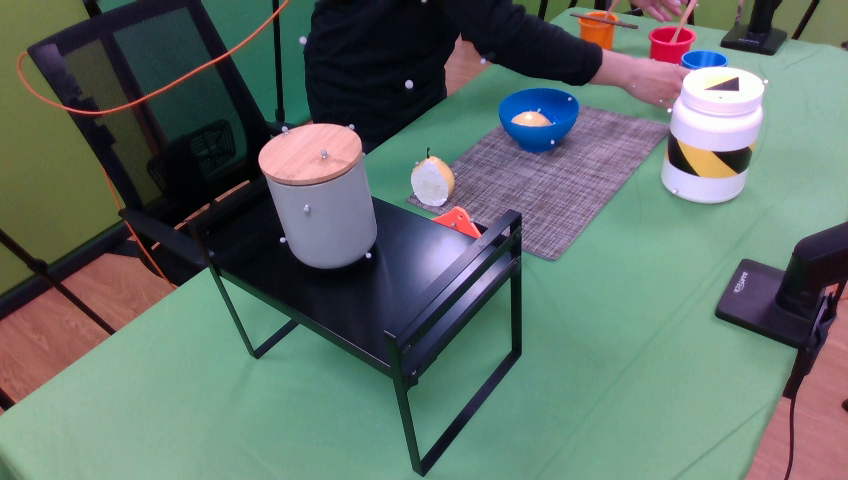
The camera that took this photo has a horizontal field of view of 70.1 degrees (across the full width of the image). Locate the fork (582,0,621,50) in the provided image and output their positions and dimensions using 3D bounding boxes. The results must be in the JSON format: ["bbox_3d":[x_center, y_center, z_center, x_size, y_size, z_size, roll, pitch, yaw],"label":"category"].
[{"bbox_3d":[0.446,-0.539,1.437,0.207,0.019,0.028,-57,35,12],"label":"fork"}]

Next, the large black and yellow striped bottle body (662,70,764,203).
[{"bbox_3d":[0.464,-0.166,0.976,0.131,0.185,0.130,-5,41,5],"label":"large black and yellow striped bottle body"}]

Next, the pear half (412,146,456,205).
[{"bbox_3d":[0.019,-0.120,1.042,0.076,0.110,0.056,11,43,16],"label":"pear half"}]

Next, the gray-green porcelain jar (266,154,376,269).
[{"bbox_3d":[-0.112,-0.039,0.685,0.106,0.127,0.105,-4,40,4],"label":"gray-green porcelain jar"}]

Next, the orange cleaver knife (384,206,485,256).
[{"bbox_3d":[0.012,-0.010,0.942,0.012,0.077,0.210,-37,19,-35],"label":"orange cleaver knife"}]

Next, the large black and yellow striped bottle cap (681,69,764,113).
[{"bbox_3d":[0.453,-0.229,0.921,0.115,0.019,0.114,-4,39,4],"label":"large black and yellow striped bottle cap"}]

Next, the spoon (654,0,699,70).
[{"bbox_3d":[0.567,-0.463,1.337,0.041,0.022,0.193,30,97,38],"label":"spoon"}]

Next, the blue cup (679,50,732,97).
[{"bbox_3d":[0.545,-0.310,1.194,0.092,0.100,0.092,-3,41,3],"label":"blue cup"}]

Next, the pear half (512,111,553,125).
[{"bbox_3d":[0.212,-0.228,1.152,0.088,0.031,0.070,7,45,10],"label":"pear half"}]

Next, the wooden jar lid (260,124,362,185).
[{"bbox_3d":[-0.119,-0.088,0.645,0.108,0.021,0.108,-4,40,4],"label":"wooden jar lid"}]

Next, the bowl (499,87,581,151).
[{"bbox_3d":[0.220,-0.223,1.155,0.151,0.077,0.150,-4,40,4],"label":"bowl"}]

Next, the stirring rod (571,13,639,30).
[{"bbox_3d":[0.418,-0.509,1.404,0.174,0.006,0.014,29,55,35],"label":"stirring rod"}]
